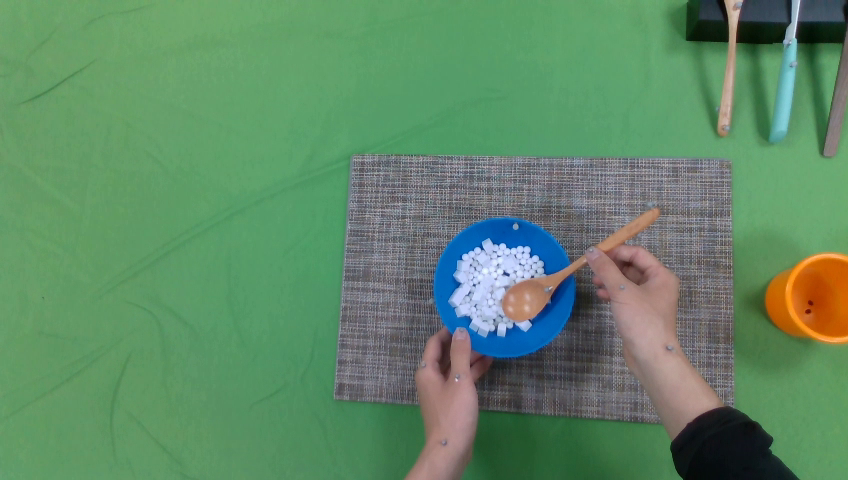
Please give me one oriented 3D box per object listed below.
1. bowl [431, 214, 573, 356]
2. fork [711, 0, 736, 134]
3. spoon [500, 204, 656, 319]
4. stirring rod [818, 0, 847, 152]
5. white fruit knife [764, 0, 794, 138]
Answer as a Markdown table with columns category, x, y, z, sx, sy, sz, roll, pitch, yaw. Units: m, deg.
| category | x | y | z | sx | sy | sz | roll | pitch | yaw |
| --- | --- | --- | --- | --- | --- | --- | --- | --- | --- |
| bowl | 0.086 | 0.052 | 0.674 | 0.151 | 0.077 | 0.151 | -1 | 81 | 7 |
| fork | 0.340 | -0.226 | 0.685 | 0.028 | 0.018 | 0.208 | -1 | 101 | 4 |
| spoon | 0.156 | 0.024 | 0.626 | 0.194 | 0.022 | 0.041 | -39 | 75 | 30 |
| stirring rod | 0.463 | -0.187 | 0.675 | 0.014 | 0.006 | 0.176 | 4 | 102 | 5 |
| white fruit knife | 0.402 | -0.219 | 0.676 | 0.016 | 0.027 | 0.208 | 3 | 98 | 5 |
